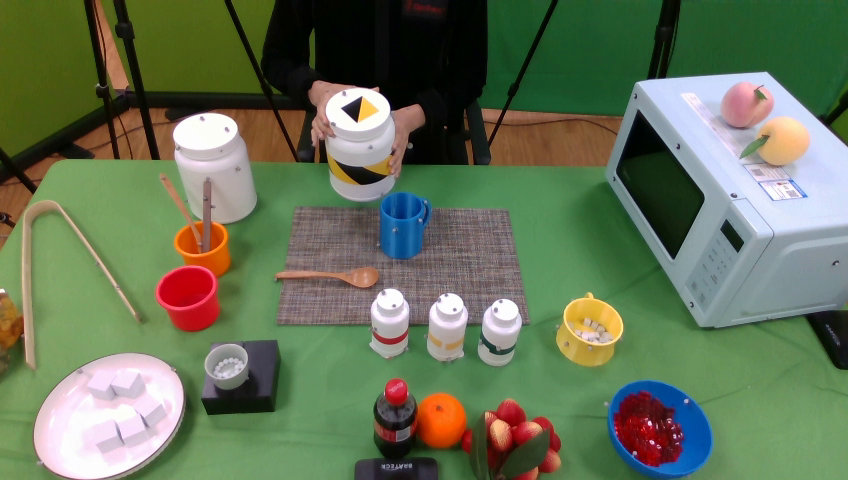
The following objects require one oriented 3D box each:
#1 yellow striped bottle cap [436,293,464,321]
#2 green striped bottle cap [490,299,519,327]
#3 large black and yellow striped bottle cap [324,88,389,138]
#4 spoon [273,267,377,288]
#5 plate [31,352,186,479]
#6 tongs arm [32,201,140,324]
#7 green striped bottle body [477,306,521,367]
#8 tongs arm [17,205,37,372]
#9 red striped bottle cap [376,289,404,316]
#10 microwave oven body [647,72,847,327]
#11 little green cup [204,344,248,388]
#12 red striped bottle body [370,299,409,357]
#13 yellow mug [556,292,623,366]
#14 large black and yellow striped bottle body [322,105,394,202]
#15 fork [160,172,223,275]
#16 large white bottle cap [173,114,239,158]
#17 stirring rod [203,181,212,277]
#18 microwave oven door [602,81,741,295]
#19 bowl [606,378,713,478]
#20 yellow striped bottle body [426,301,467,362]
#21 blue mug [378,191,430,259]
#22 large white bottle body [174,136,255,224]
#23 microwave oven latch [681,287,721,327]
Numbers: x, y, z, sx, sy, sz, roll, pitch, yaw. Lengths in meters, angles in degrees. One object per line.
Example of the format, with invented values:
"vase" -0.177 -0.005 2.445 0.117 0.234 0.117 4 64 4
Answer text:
"yellow striped bottle cap" 0.041 0.106 0.959 0.044 0.019 0.044 0 50 1
"green striped bottle cap" 0.127 0.115 0.958 0.044 0.020 0.044 2 48 -2
"large black and yellow striped bottle cap" -0.120 -0.227 1.075 0.115 0.019 0.114 2 55 -3
"spoon" -0.183 0.065 1.115 0.194 0.022 0.041 3 67 -1
"plate" -0.459 0.262 0.898 0.209 0.038 0.208 2 46 -2
"tongs arm" -0.623 0.035 1.105 0.051 0.026 0.382 -33 56 -25
"green striped bottle body" 0.124 0.151 0.995 0.063 0.120 0.063 2 46 -2
"tongs arm" -0.698 0.072 1.069 0.028 0.028 0.385 -21 51 -13
"red striped bottle cap" -0.054 0.098 0.958 0.044 0.018 0.044 0 48 0
"microwave oven body" 0.607 -0.089 1.164 0.326 0.261 0.438 -7 46 -10
"little green cup" -0.294 0.191 0.909 0.061 0.039 0.061 1 48 -1
"red striped bottle body" -0.057 0.135 0.997 0.063 0.120 0.062 2 47 -2
"yellow mug" 0.285 0.145 1.051 0.100 0.064 0.130 7 45 3
"large black and yellow striped bottle body" -0.122 -0.175 1.141 0.131 0.185 0.130 1 53 -2
"fork" -0.425 -0.030 1.103 0.028 0.018 0.207 -29 98 -19
"large white bottle cap" -0.403 -0.195 1.122 0.115 0.018 0.114 2 47 -2
"stirring rod" -0.396 -0.021 1.108 0.014 0.006 0.176 -1 89 -1
"microwave oven door" 0.456 -0.107 1.162 0.039 0.245 0.353 -7 47 -11
"bowl" 0.340 0.292 0.906 0.151 0.077 0.150 2 46 -2
"yellow striped bottle body" 0.037 0.142 0.996 0.063 0.121 0.062 2 46 -2
"blue mug" -0.033 -0.035 1.167 0.116 0.106 0.082 -30 55 -29
"large white bottle body" -0.408 -0.137 1.183 0.131 0.185 0.130 2 46 -2
"microwave oven latch" 0.494 0.119 1.087 0.030 0.029 0.078 -6 46 -9
